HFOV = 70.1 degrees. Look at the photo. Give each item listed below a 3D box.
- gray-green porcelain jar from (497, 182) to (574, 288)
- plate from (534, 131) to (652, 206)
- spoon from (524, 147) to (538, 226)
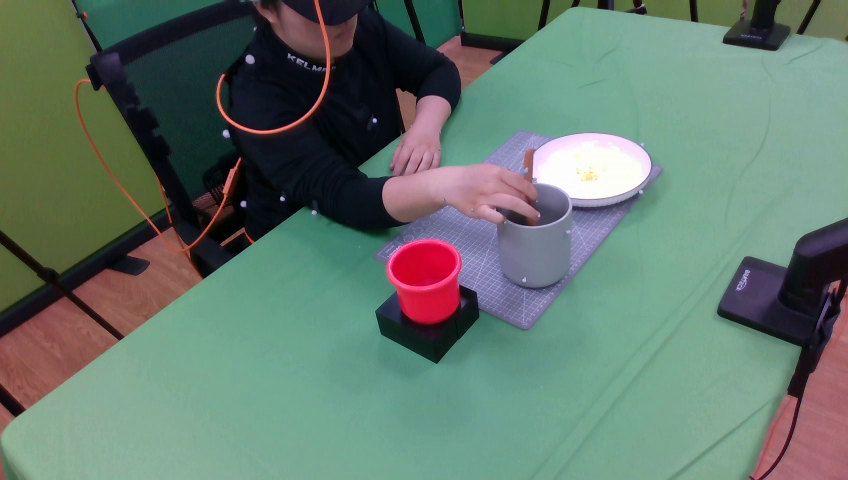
[{"bbox_3d":[0.160,-0.003,0.869,0.106,0.127,0.105,-5,40,5],"label":"gray-green porcelain jar"},{"bbox_3d":[0.287,-0.121,1.056,0.207,0.039,0.206,-5,40,5],"label":"plate"},{"bbox_3d":[0.148,-0.046,0.842,0.042,0.194,0.021,-18,38,-9],"label":"spoon"}]
